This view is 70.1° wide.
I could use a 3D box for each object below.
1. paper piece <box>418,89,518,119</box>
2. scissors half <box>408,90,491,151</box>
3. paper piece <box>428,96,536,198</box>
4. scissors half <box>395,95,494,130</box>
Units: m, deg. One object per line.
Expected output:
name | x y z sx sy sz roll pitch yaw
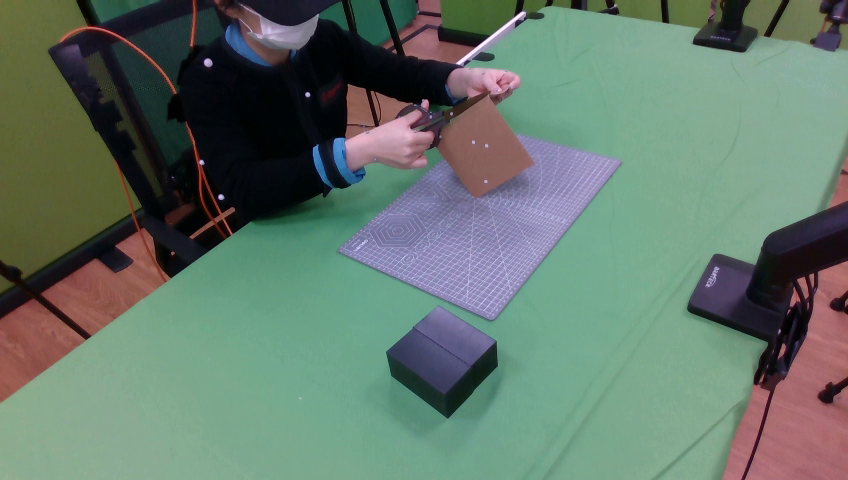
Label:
paper piece | 0.079 -0.232 1.037 0.135 0.008 0.139 -10 10 32
scissors half | 0.041 -0.195 0.987 0.174 0.040 0.013 -33 18 34
paper piece | 0.092 -0.148 0.995 0.135 0.136 0.004 -29 17 38
scissors half | 0.030 -0.212 0.979 0.174 0.040 0.013 -7 36 23
